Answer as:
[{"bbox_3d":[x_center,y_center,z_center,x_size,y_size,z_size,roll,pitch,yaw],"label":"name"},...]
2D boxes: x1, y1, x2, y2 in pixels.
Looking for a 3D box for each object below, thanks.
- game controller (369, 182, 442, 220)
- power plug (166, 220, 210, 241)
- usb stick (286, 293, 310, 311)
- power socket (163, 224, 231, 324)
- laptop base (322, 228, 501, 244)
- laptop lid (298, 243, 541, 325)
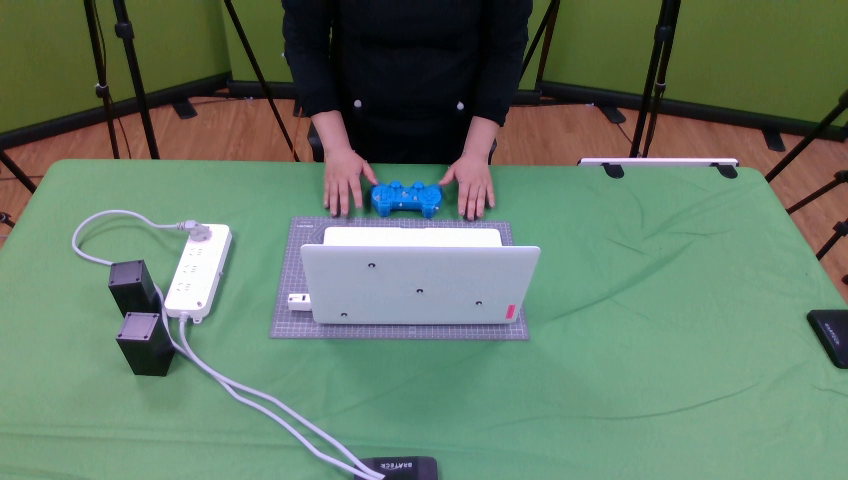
[{"bbox_3d":[-0.039,-0.091,1.268,0.155,0.052,0.096,2,50,-2],"label":"game controller"},{"bbox_3d":[-0.440,-0.016,1.143,0.072,0.053,0.035,7,46,8],"label":"power plug"},{"bbox_3d":[-0.210,0.109,1.059,0.059,0.027,0.021,4,44,-6],"label":"usb stick"},{"bbox_3d":[-0.411,0.052,1.107,0.072,0.033,0.225,3,46,-3],"label":"power socket"},{"bbox_3d":[-0.020,0.063,1.136,0.355,0.023,0.234,0,43,-4],"label":"laptop base"},{"bbox_3d":[-0.010,0.076,0.958,0.357,0.243,0.013,1,53,-5],"label":"laptop lid"}]
